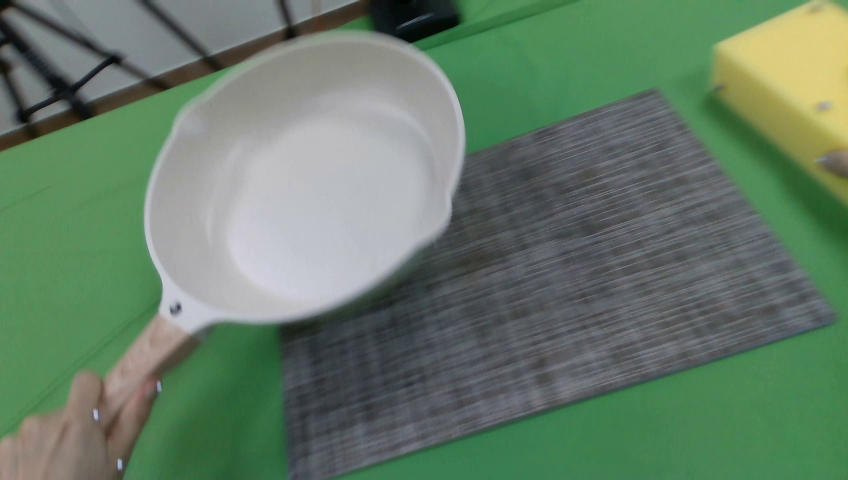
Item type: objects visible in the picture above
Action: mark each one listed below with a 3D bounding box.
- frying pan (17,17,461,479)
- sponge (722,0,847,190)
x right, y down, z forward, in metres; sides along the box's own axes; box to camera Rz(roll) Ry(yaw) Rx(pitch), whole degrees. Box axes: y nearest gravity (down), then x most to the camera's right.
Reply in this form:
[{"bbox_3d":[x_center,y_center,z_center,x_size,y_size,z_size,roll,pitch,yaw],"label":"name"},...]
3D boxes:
[{"bbox_3d":[-0.160,0.014,0.499,0.304,0.104,0.486,25,67,28],"label":"frying pan"},{"bbox_3d":[0.385,-0.131,0.540,0.118,0.061,0.204,-25,51,-1],"label":"sponge"}]
